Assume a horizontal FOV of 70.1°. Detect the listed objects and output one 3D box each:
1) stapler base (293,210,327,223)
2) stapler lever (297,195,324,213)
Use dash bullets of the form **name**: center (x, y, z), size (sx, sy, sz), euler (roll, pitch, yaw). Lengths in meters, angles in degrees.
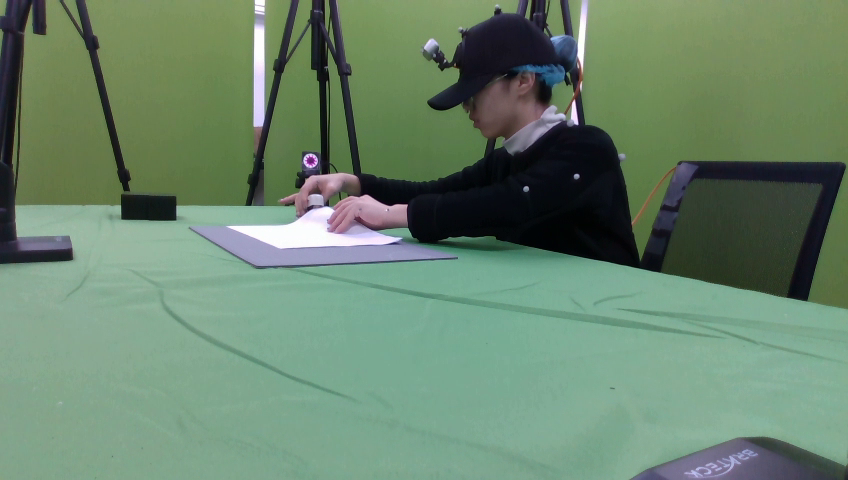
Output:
- **stapler base**: center (-0.240, -0.052, 1.277), size (0.041, 0.024, 0.130), euler (2, 3, -27)
- **stapler lever**: center (-0.240, -0.077, 1.276), size (0.027, 0.040, 0.117), euler (2, 4, -27)
